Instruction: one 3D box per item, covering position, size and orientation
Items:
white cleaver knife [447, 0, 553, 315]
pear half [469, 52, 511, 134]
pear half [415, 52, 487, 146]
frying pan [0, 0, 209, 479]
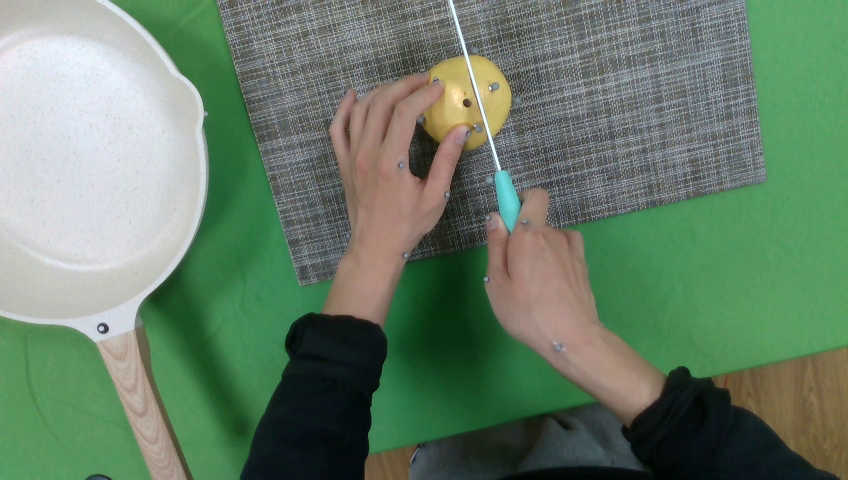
[{"bbox_3d":[0.058,-0.072,0.483,0.021,0.065,0.287,-15,103,10],"label":"white cleaver knife"},{"bbox_3d":[0.056,-0.126,0.505,0.031,0.087,0.070,-23,98,4],"label":"pear half"},{"bbox_3d":[0.021,-0.112,0.498,0.056,0.109,0.076,-23,98,7],"label":"pear half"},{"bbox_3d":[-0.294,0.024,0.541,0.307,0.102,0.488,-18,94,6],"label":"frying pan"}]
